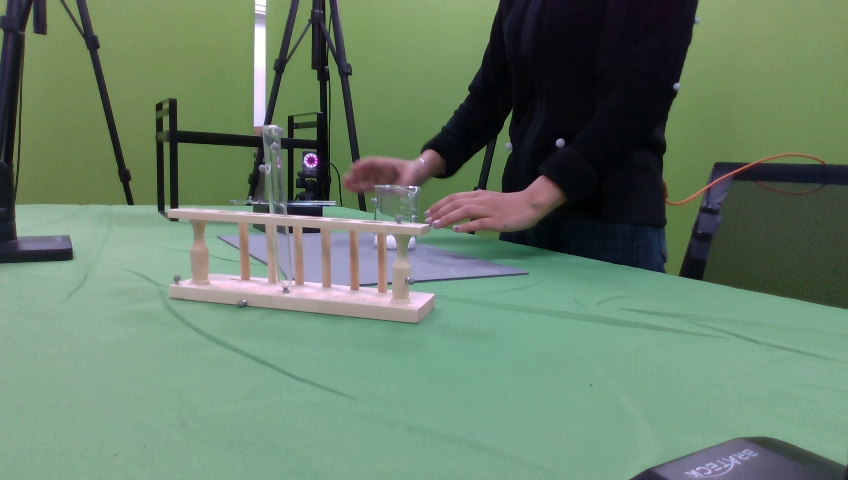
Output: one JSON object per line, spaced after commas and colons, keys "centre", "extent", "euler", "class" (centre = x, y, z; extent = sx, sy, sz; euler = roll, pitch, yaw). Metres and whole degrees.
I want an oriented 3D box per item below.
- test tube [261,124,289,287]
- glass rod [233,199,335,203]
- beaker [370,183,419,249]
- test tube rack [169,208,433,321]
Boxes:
{"centre": [-0.137, -0.030, 0.556], "extent": [0.017, 0.150, 0.017], "euler": [-3, 6, 1], "class": "test tube"}
{"centre": [-0.264, -0.076, 1.160], "extent": [0.201, 0.008, 0.008], "euler": [-2, 9, -31], "class": "glass rod"}
{"centre": [-0.044, -0.038, 0.954], "extent": [0.074, 0.100, 0.083], "euler": [-5, 11, -41], "class": "beaker"}
{"centre": [-0.115, 0.017, 0.574], "extent": [0.242, 0.085, 0.067], "euler": [4, 8, 13], "class": "test tube rack"}
